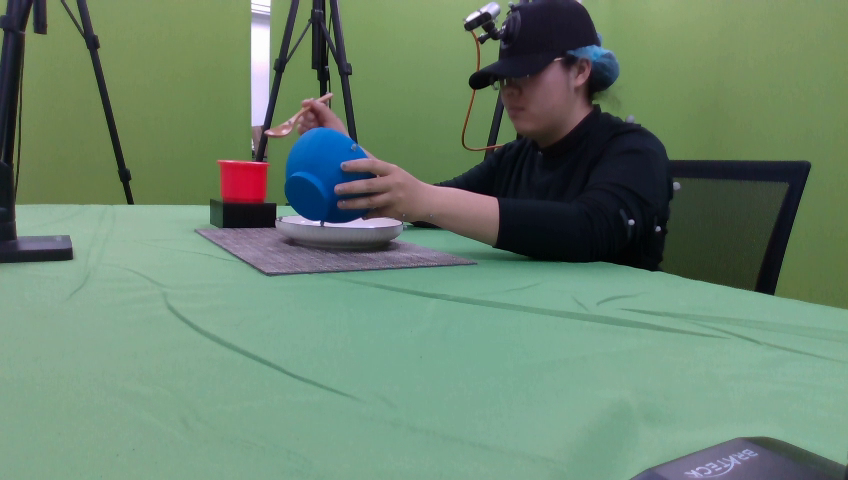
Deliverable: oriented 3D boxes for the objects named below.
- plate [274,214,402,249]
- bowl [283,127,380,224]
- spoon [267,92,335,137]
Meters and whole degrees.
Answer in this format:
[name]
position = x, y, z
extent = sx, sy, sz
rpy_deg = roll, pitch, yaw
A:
[plate]
position = -0.140, -0.015, 0.993
extent = 0.208, 0.039, 0.207
rpy_deg = 3, 8, 0
[bowl]
position = -0.148, -0.078, 0.868
extent = 0.151, 0.151, 0.077
rpy_deg = 6, 36, 31
[spoon]
position = -0.229, -0.243, 1.156
extent = 0.041, 0.021, 0.194
rpy_deg = 16, 46, 27
